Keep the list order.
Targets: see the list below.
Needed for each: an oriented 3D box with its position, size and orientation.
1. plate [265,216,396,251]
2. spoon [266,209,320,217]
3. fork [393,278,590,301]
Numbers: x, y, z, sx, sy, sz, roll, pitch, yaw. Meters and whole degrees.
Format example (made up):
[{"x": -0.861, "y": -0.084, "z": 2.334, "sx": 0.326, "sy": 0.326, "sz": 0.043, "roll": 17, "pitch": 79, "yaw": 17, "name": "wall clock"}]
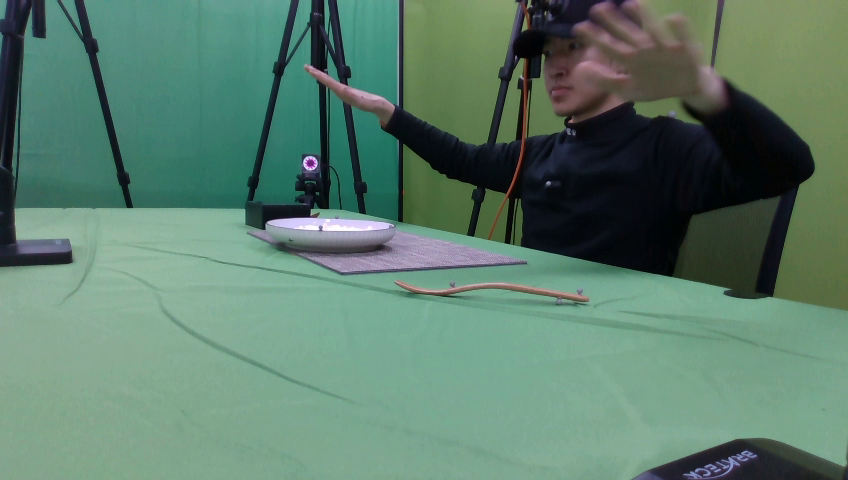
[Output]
[{"x": -0.150, "y": -0.011, "z": 0.978, "sx": 0.209, "sy": 0.038, "sz": 0.209, "roll": 3, "pitch": 7, "yaw": 0, "name": "plate"}, {"x": -0.315, "y": -0.064, "z": 1.434, "sx": 0.193, "sy": 0.021, "sz": 0.042, "roll": 8, "pitch": 25, "yaw": 39, "name": "spoon"}, {"x": 0.070, "y": 0.052, "z": 0.640, "sx": 0.207, "sy": 0.018, "sz": 0.028, "roll": 1, "pitch": -4, "yaw": 5, "name": "fork"}]
